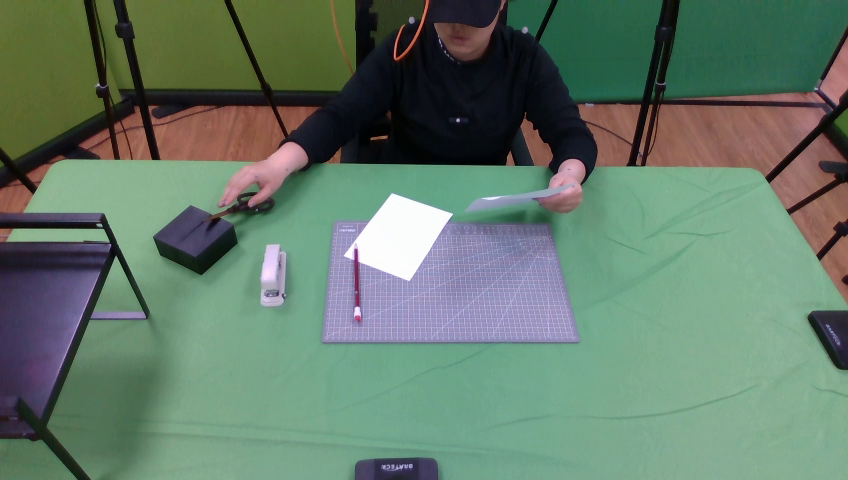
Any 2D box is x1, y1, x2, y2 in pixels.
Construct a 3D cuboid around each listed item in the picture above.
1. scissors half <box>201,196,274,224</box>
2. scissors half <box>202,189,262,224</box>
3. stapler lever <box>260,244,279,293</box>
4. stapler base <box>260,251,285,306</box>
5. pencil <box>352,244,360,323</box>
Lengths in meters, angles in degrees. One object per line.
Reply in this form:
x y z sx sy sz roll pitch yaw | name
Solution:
-0.364 -0.055 1.193 0.040 0.013 0.175 38 35 21 | scissors half
-0.381 -0.066 1.198 0.040 0.013 0.175 24 31 9 | scissors half
-0.279 0.045 1.096 0.027 0.040 0.117 -2 44 -9 | stapler lever
-0.279 0.064 1.113 0.041 0.024 0.129 -1 44 -9 | stapler base
-0.127 0.075 1.120 0.012 0.012 0.192 -2 44 -7 | pencil
